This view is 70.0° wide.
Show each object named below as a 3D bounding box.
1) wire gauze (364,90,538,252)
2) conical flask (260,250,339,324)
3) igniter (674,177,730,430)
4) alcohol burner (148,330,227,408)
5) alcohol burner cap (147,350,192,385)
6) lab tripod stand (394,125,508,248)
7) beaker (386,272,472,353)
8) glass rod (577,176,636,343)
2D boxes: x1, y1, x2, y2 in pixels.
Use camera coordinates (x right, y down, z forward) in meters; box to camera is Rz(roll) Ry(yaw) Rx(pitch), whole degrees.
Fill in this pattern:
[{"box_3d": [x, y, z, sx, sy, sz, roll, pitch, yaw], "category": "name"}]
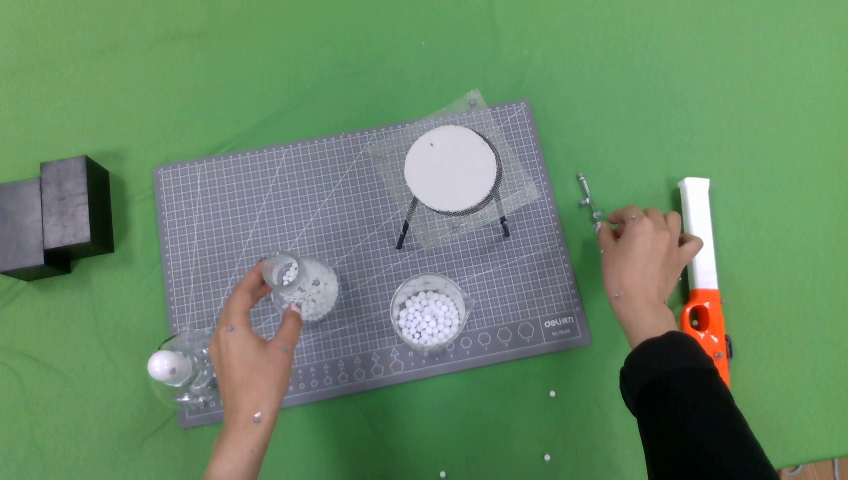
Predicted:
[{"box_3d": [0.025, -0.065, 0.567, 0.125, 0.011, 0.121, -27, 80, -5], "category": "wire gauze"}, {"box_3d": [-0.132, 0.043, 0.616, 0.075, 0.122, 0.075, 0, 76, 0], "category": "conical flask"}, {"box_3d": [0.302, 0.064, 0.664, 0.057, 0.025, 0.275, 3, 77, -10], "category": "igniter"}, {"box_3d": [-0.240, 0.127, 0.600, 0.078, 0.119, 0.077, 0, 77, -2], "category": "alcohol burner"}, {"box_3d": [-0.239, 0.117, 0.565, 0.034, 0.048, 0.033, 1, 73, -4], "category": "alcohol burner cap"}, {"box_3d": [0.026, -0.048, 0.632, 0.148, 0.132, 0.147, 0, 78, 0], "category": "lab tripod stand"}, {"box_3d": [0.005, 0.078, 0.620, 0.084, 0.100, 0.073, -13, 77, -4], "category": "beaker"}, {"box_3d": [0.205, 0.019, 0.684, 0.008, 0.008, 0.198, -14, 77, -4], "category": "glass rod"}]
